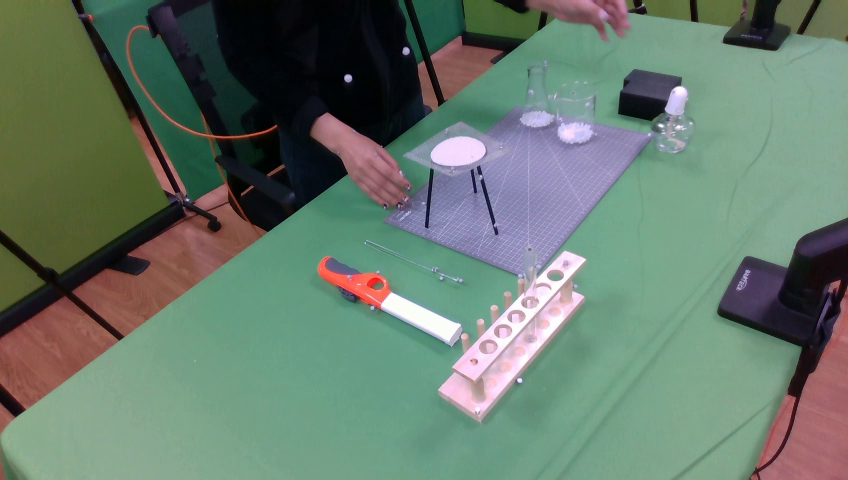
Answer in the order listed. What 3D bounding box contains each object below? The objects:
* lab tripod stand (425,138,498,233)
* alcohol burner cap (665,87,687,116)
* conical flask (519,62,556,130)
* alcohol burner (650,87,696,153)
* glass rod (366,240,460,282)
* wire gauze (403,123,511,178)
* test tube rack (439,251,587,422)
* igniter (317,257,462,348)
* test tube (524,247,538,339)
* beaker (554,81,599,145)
[{"bbox_3d":[0.063,-0.091,0.988,0.148,0.132,0.147,-6,38,6],"label":"lab tripod stand"},{"bbox_3d":[0.445,-0.244,1.060,0.034,0.048,0.033,-2,45,3],"label":"alcohol burner cap"},{"bbox_3d":[0.225,-0.287,1.198,0.075,0.122,0.075,-6,40,5],"label":"conical flask"},{"bbox_3d":[0.448,-0.218,1.084,0.078,0.119,0.077,-6,38,5],"label":"alcohol burner"},{"bbox_3d":[-0.022,0.032,0.962,0.198,0.008,0.008,21,49,35],"label":"glass rod"},{"bbox_3d":[0.051,-0.140,0.943,0.125,0.011,0.120,-31,43,-25],"label":"wire gauze"},{"bbox_3d":[0.118,0.111,0.780,0.066,0.085,0.243,26,51,35],"label":"test tube rack"},{"bbox_3d":[-0.061,0.086,0.891,0.274,0.025,0.057,23,59,33],"label":"igniter"},{"bbox_3d":[0.133,0.070,0.749,0.017,0.151,0.017,-5,38,4],"label":"test tube"},{"bbox_3d":[0.286,-0.237,1.144,0.084,0.101,0.073,-17,40,-7],"label":"beaker"}]
